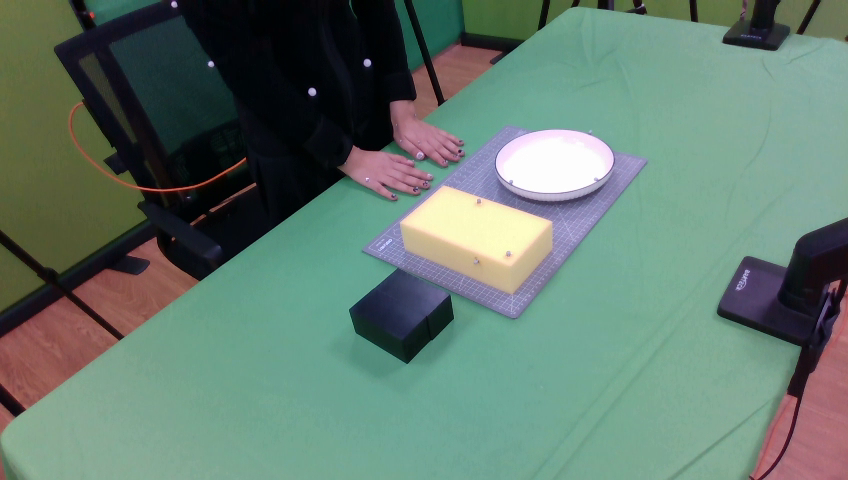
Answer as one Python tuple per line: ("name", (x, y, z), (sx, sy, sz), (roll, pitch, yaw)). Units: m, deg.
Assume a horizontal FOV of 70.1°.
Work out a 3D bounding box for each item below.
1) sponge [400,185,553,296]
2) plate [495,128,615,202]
("sponge", (0.081, -0.005, 0.940), (0.205, 0.061, 0.118), (21, 49, 31))
("plate", (0.231, -0.130, 1.077), (0.209, 0.038, 0.208), (-5, 40, 5))
